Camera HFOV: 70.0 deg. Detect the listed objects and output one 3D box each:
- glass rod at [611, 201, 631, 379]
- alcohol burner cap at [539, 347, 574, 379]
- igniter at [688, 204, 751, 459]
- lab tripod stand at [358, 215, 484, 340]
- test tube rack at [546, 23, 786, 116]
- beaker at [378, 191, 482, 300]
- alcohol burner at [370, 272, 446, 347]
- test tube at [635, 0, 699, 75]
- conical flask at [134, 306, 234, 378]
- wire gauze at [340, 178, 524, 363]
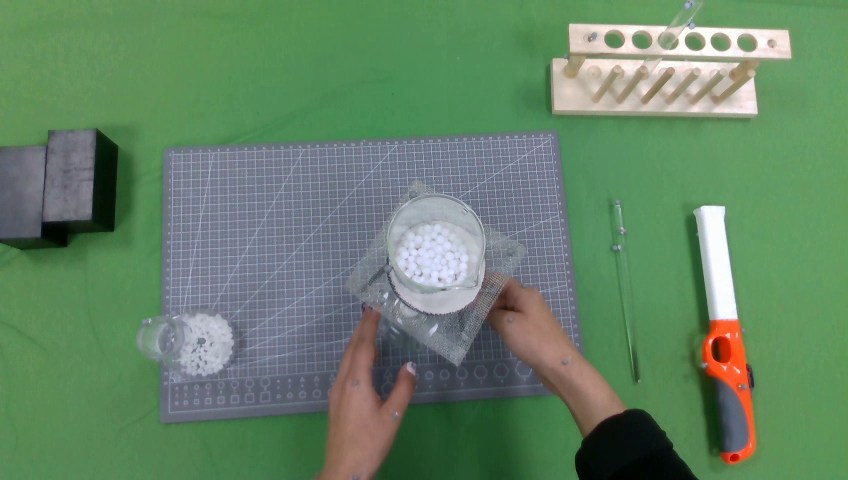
[{"bbox_3d":[0.220,0.054,0.676,0.008,0.008,0.199,-1,81,-3],"label":"glass rod"},{"bbox_3d":[0.141,0.129,0.637,0.034,0.048,0.033,1,78,-3],"label":"alcohol burner cap"},{"bbox_3d":[0.322,0.095,0.663,0.057,0.025,0.275,1,78,-13],"label":"igniter"},{"bbox_3d":[0.003,0.036,0.603,0.148,0.132,0.148,0,80,-1],"label":"lab tripod stand"},{"bbox_3d":[0.270,-0.191,0.689,0.242,0.085,0.066,0,78,-2],"label":"test tube rack"},{"bbox_3d":[0.007,0.012,0.492,0.074,0.100,0.084,-42,83,-9],"label":"beaker"},{"bbox_3d":[-0.016,0.068,0.605,0.078,0.119,0.077,0,78,0],"label":"alcohol burner"},{"bbox_3d":[0.255,-0.216,0.643,0.017,0.151,0.017,0,78,0],"label":"test tube"},{"bbox_3d":[-0.235,0.096,0.584,0.075,0.122,0.075,1,78,-3],"label":"conical flask"},{"bbox_3d":[0.008,0.024,0.538,0.125,0.011,0.121,34,82,3],"label":"wire gauze"}]
